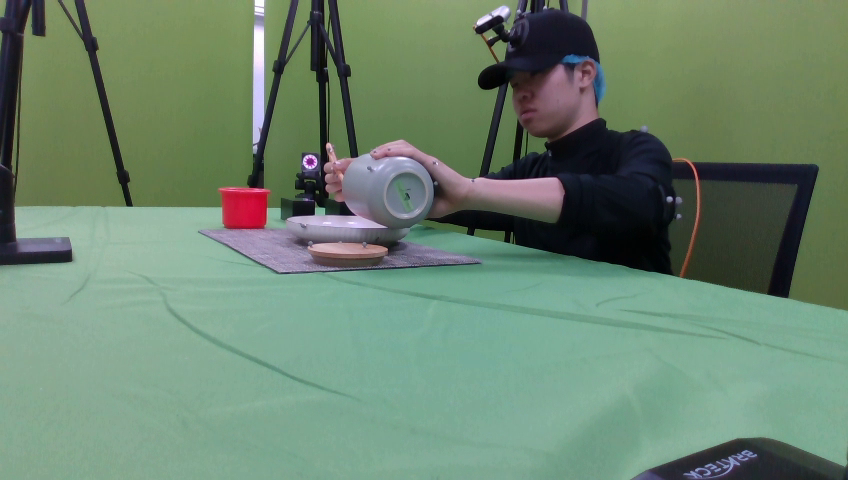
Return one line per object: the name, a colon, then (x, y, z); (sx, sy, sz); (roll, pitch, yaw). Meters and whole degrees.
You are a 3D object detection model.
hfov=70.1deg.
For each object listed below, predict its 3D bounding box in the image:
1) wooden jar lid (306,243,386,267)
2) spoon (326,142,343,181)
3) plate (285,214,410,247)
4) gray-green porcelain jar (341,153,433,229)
wooden jar lid: (-0.105, 0.020, 0.816); (0.108, 0.020, 0.108); (1, 7, 0)
spoon: (-0.141, -0.112, 1.022); (0.042, 0.021, 0.193); (6, 33, -32)
plate: (-0.127, -0.015, 1.012); (0.208, 0.039, 0.207); (3, 7, 0)
gray-green porcelain jar: (-0.054, -0.074, 0.897); (0.106, 0.106, 0.126); (-1, 10, -27)
